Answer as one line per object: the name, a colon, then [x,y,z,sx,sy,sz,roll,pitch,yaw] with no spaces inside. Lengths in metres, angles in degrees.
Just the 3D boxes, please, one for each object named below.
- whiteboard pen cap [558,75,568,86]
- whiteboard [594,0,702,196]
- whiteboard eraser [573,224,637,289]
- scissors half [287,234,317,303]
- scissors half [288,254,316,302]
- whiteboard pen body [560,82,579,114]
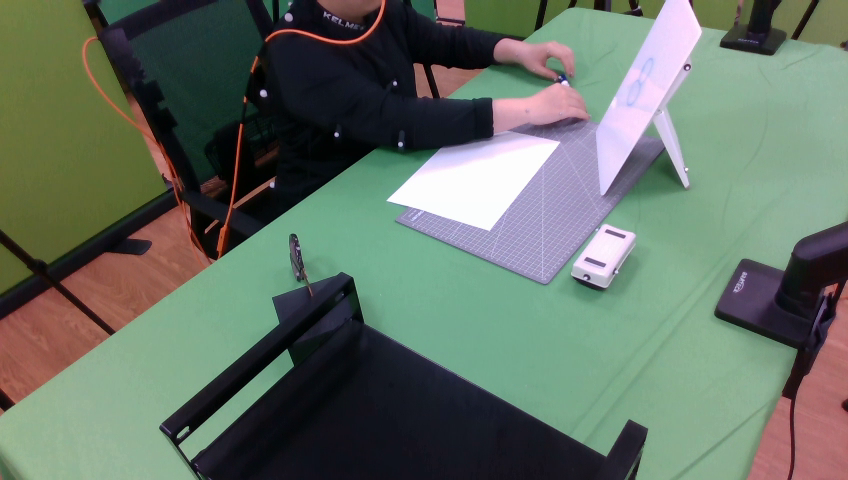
whiteboard pen cap: [0.309,-0.350,1.340,0.018,0.018,0.033,-6,43,2]
whiteboard: [0.420,-0.227,1.010,0.144,0.305,0.216,18,42,-2]
whiteboard eraser: [0.267,0.025,0.890,0.055,0.042,0.113,19,47,31]
scissors half: [-0.179,0.040,0.884,0.013,0.040,0.173,-11,36,-20]
scissors half: [-0.178,0.058,0.894,0.013,0.040,0.174,-16,20,-17]
whiteboard pen body: [0.309,-0.311,1.297,0.017,0.017,0.140,-7,42,1]
